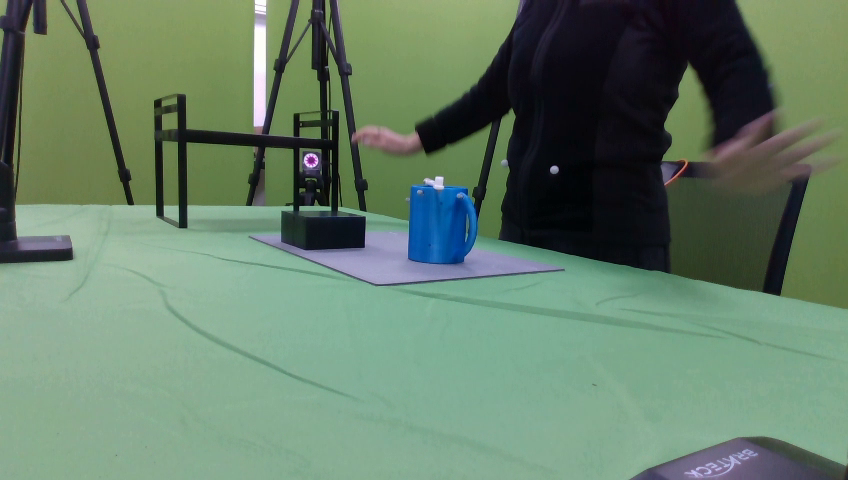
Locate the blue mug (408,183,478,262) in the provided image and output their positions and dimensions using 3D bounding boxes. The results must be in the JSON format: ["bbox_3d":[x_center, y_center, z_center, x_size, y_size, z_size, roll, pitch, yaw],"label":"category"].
[{"bbox_3d":[0.030,-0.024,0.843,0.083,0.106,0.116,-4,10,-43],"label":"blue mug"}]

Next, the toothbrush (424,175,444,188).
[{"bbox_3d":[0.012,-0.085,0.853,0.014,0.016,0.181,-4,8,-4],"label":"toothbrush"}]
